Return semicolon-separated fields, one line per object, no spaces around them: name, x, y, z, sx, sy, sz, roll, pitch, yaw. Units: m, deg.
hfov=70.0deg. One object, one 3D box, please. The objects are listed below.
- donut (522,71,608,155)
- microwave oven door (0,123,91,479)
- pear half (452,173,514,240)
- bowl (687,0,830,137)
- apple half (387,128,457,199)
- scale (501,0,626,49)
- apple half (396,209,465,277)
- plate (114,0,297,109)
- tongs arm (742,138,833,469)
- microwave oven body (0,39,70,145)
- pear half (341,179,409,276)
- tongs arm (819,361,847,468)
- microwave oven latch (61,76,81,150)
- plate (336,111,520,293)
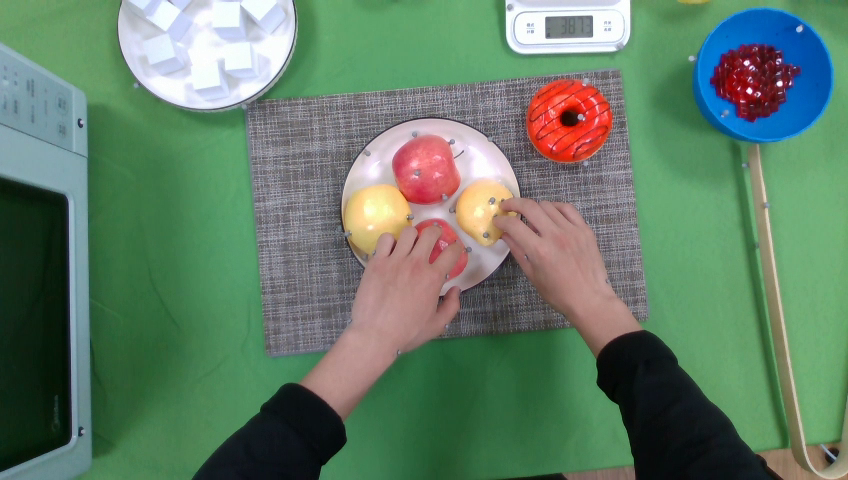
donut;0.162;-0.146;0.702;0.099;0.048;0.099;0;88;2
microwave oven door;-0.400;0.068;0.573;0.039;0.244;0.355;-3;86;0
pear half;0.063;-0.044;0.677;0.070;0.031;0.087;-13;52;15
bowl;0.365;-0.185;0.693;0.151;0.077;0.151;0;87;0
apple half;-0.003;-0.087;0.683;0.074;0.053;0.081;-16;90;0
scale;0.166;-0.332;0.723;0.149;0.031;0.200;-1;87;0
apple half;0.006;0.005;0.686;0.081;0.033;0.081;0;88;-2
plate;-0.251;-0.253;0.712;0.208;0.039;0.207;0;86;0
tongs arm;0.418;0.071;0.701;0.051;0.026;0.384;-6;88;-6
microwave oven body;-0.547;0.034;0.579;0.326;0.260;0.441;-3;87;-1
pear half;-0.050;-0.013;0.675;0.076;0.056;0.110;-14;92;-10
tongs arm;0.505;0.070;0.707;0.028;0.027;0.387;9;87;-9
microwave oven latch;-0.408;-0.143;0.686;0.030;0.029;0.079;-2;87;-1
plate;0.005;-0.043;0.698;0.209;0.038;0.208;0;86;0
